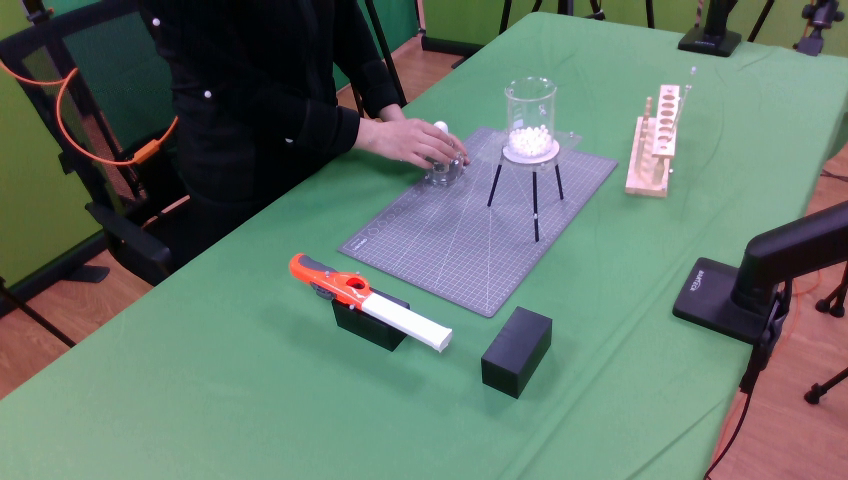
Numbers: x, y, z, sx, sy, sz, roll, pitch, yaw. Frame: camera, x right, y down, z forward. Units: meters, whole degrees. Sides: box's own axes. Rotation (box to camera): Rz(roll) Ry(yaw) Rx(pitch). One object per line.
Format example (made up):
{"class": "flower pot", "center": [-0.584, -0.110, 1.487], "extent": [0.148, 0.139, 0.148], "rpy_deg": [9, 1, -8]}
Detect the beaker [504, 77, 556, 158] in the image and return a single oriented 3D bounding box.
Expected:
{"class": "beaker", "center": [0.160, -0.181, 0.900], "extent": [0.084, 0.101, 0.073], "rpy_deg": [-33, 46, -27]}

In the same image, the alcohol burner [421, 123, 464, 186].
{"class": "alcohol burner", "center": [0.032, -0.158, 1.083], "extent": [0.078, 0.119, 0.077], "rpy_deg": [-5, 42, 5]}

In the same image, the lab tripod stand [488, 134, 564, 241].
{"class": "lab tripod stand", "center": [0.168, -0.092, 0.972], "extent": [0.148, 0.132, 0.147], "rpy_deg": [-5, 41, 5]}

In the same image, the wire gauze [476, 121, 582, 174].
{"class": "wire gauze", "center": [0.162, -0.142, 0.929], "extent": [0.120, 0.011, 0.125], "rpy_deg": [19, 49, 32]}

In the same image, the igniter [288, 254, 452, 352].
{"class": "igniter", "center": [-0.083, 0.079, 0.818], "extent": [0.274, 0.025, 0.057], "rpy_deg": [23, 46, 27]}

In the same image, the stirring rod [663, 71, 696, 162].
{"class": "stirring rod", "center": [0.410, -0.195, 0.981], "extent": [0.014, 0.177, 0.006], "rpy_deg": [11, 50, 13]}

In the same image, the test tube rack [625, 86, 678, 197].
{"class": "test tube rack", "center": [0.412, -0.184, 1.088], "extent": [0.066, 0.085, 0.242], "rpy_deg": [9, 43, 18]}

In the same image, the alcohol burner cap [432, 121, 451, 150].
{"class": "alcohol burner cap", "center": [0.029, -0.185, 1.059], "extent": [0.034, 0.048, 0.033], "rpy_deg": [-5, 36, 4]}
